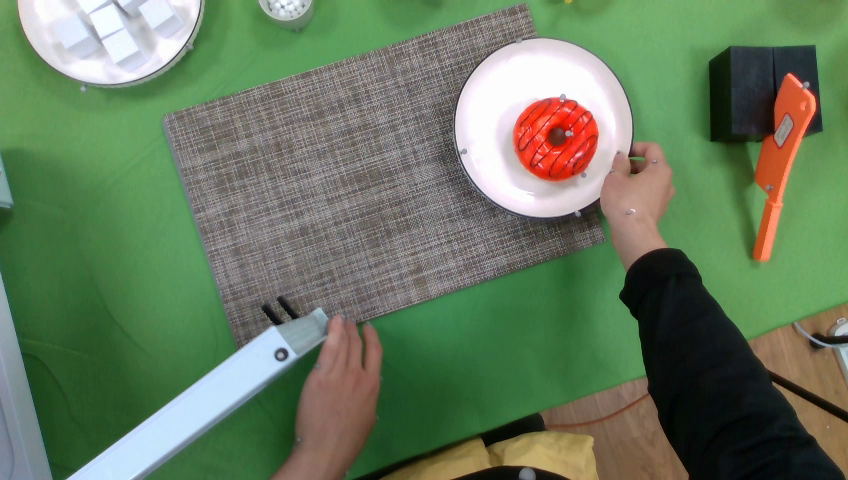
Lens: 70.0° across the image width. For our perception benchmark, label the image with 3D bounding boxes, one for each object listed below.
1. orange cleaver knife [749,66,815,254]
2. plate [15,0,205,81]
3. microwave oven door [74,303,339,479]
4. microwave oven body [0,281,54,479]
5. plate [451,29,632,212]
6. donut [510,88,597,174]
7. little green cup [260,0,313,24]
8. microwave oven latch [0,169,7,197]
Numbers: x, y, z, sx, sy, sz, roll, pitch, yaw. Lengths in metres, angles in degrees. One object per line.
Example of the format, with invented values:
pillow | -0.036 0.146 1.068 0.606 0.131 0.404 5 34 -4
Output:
orange cleaver knife | 0.398 -0.087 0.693 0.012 0.076 0.213 1 118 2
plate | -0.353 -0.281 0.695 0.208 0.039 0.207 0 88 -2
microwave oven door | -0.246 0.184 0.563 0.356 0.244 0.039 -37 87 -3
microwave oven body | -0.579 0.120 0.559 0.326 0.260 0.441 -16 89 -3
plate | 0.134 -0.135 0.703 0.209 0.038 0.209 0 88 -2
donut | 0.147 -0.124 0.692 0.099 0.048 0.099 0 89 -1
little green cup | -0.158 -0.283 0.702 0.061 0.038 0.061 0 88 -2
microwave oven latch | -0.487 -0.086 0.665 0.030 0.029 0.079 -14 89 -3
